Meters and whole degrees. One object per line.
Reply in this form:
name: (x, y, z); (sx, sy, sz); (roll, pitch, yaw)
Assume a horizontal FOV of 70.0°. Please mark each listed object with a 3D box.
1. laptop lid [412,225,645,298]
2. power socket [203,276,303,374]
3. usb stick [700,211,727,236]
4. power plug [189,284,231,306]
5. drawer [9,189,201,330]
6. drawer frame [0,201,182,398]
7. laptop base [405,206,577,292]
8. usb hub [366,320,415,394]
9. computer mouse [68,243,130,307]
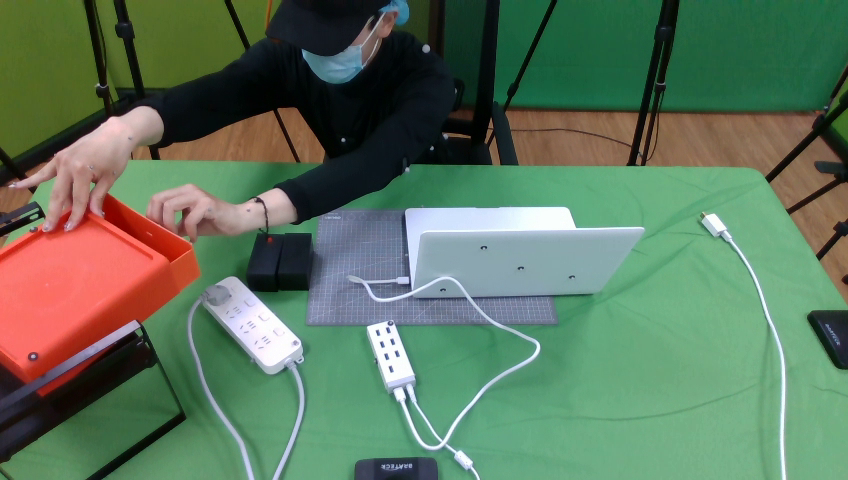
laptop lid: (0.161, 0.042, 1.012); (0.357, 0.242, 0.013); (0, 59, -7)
power socket: (-0.295, 0.141, 1.034); (0.072, 0.033, 0.225); (-34, 58, -30)
usb stick: (0.606, -0.038, 1.273); (0.027, 0.021, 0.059); (-18, 56, -20)
power plug: (-0.368, 0.100, 1.037); (0.072, 0.053, 0.035); (-23, 53, -26)
drawer: (-0.456, 0.046, 0.832); (0.194, 0.073, 0.211); (28, 51, 20)
drawer frame: (-0.478, 0.068, 0.807); (0.201, 0.083, 0.213); (27, 50, 19)
laptop base: (0.143, 0.018, 1.196); (0.355, 0.023, 0.234); (-1, 43, -6)
usb hub: (-0.056, 0.192, 1.009); (0.049, 0.025, 0.124); (-12, 49, -16)
computer mouse: (-0.457, 0.043, 0.853); (0.063, 0.041, 0.116); (-8, 41, -7)
